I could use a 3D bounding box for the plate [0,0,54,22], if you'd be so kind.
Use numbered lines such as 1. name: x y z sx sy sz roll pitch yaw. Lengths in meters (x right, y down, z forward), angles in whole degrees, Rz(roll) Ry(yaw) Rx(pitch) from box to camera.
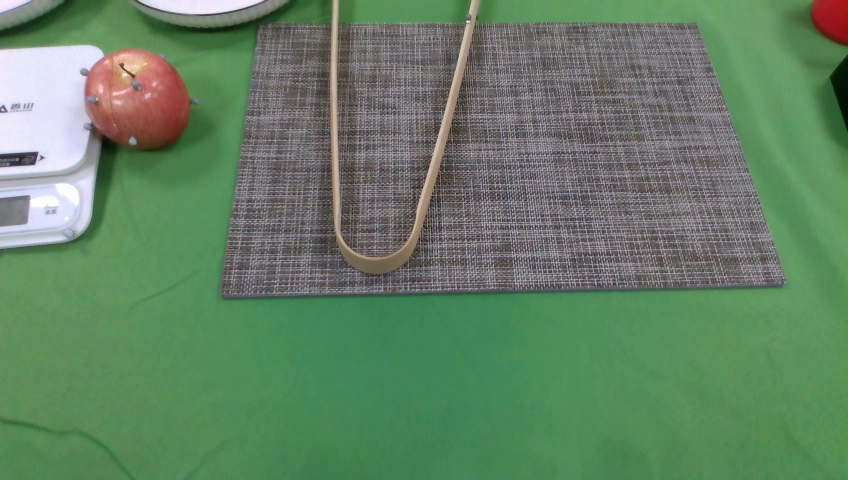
1. plate: -0.441 -0.290 0.619 0.208 0.039 0.206 1 62 -1

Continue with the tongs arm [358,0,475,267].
1. tongs arm: 0.007 -0.148 0.557 0.051 0.027 0.382 10 62 3

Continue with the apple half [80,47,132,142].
1. apple half: -0.268 -0.117 0.511 0.033 0.082 0.080 -9 62 -10

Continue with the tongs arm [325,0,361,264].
1. tongs arm: -0.077 -0.154 0.559 0.028 0.028 0.384 -1 62 -7

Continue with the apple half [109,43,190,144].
1. apple half: -0.229 -0.124 0.517 0.053 0.075 0.080 -9 58 -9

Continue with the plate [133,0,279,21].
1. plate: -0.216 -0.298 0.631 0.209 0.038 0.207 1 61 -1

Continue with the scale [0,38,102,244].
1. scale: -0.353 -0.089 0.517 0.149 0.032 0.199 -6 62 -5
